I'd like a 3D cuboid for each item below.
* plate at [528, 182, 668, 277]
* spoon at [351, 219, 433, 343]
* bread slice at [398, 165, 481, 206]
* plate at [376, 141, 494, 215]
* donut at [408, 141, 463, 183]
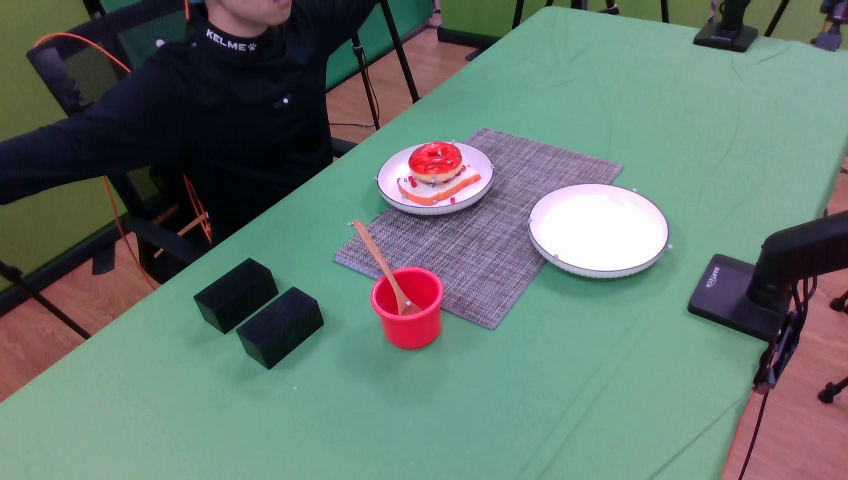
[{"bbox_3d":[0.264,-0.014,0.933,0.207,0.039,0.206,-3,42,3],"label":"plate"},{"bbox_3d":[-0.045,0.054,0.820,0.042,0.021,0.193,-29,89,-21],"label":"spoon"},{"bbox_3d":[0.021,-0.107,1.077,0.132,0.019,0.104,-32,46,-28],"label":"bread slice"},{"bbox_3d":[0.021,-0.106,1.073,0.209,0.038,0.208,-4,40,4],"label":"plate"},{"bbox_3d":[0.020,-0.139,1.058,0.099,0.048,0.098,-4,39,4],"label":"donut"}]
